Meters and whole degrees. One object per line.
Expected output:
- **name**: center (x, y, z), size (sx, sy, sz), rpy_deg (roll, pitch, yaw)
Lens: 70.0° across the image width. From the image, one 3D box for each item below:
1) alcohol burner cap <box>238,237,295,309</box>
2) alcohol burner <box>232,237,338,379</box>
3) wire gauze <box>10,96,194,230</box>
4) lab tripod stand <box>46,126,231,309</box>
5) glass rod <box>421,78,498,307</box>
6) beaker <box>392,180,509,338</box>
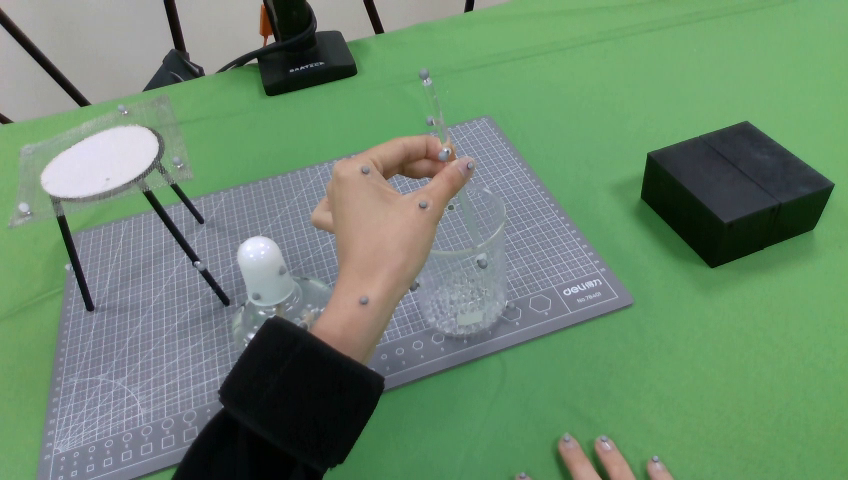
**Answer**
- **alcohol burner cap**: center (-0.108, 0.020, 0.408), size (0.034, 0.048, 0.033), rpy_deg (-3, 41, 3)
- **alcohol burner**: center (-0.104, 0.045, 0.434), size (0.078, 0.120, 0.077), rpy_deg (-6, 42, 5)
- **wire gauze**: center (-0.243, -0.061, 0.453), size (0.125, 0.011, 0.120), rpy_deg (-22, 45, -12)
- **lab tripod stand**: center (-0.234, -0.013, 0.500), size (0.148, 0.133, 0.147), rpy_deg (-5, 46, 5)
- **glass rod**: center (0.027, -0.020, 0.414), size (0.008, 0.202, 0.008), rpy_deg (-12, 41, 11)
- **beaker**: center (0.023, 0.019, 0.450), size (0.084, 0.101, 0.073), rpy_deg (-20, 45, -10)
